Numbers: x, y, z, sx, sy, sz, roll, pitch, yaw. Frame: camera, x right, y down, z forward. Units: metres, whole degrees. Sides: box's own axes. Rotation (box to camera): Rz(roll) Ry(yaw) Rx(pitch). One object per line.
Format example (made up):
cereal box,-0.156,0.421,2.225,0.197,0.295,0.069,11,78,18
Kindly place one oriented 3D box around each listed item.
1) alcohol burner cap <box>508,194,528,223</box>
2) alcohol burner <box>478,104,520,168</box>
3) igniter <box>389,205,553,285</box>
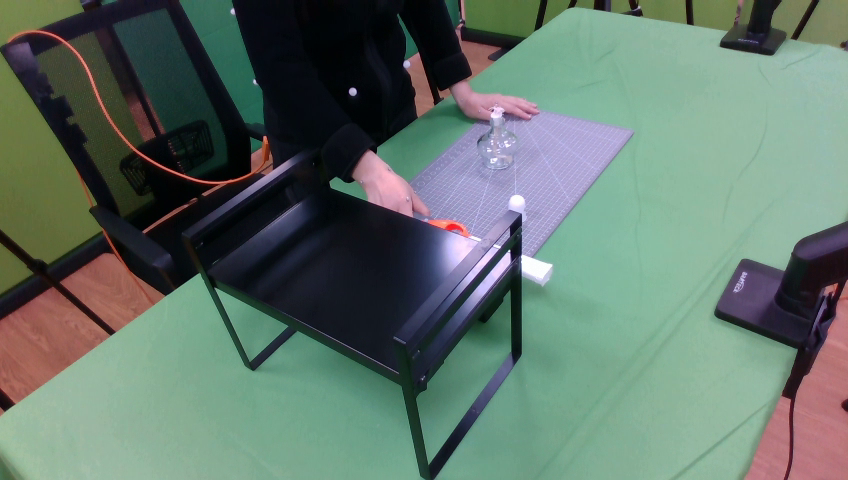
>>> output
alcohol burner cap,0.155,-0.054,0.996,0.034,0.048,0.033,-4,39,4
alcohol burner,0.137,-0.193,1.106,0.078,0.119,0.077,-5,39,4
igniter,0.055,0.001,0.860,0.274,0.025,0.057,22,50,32
